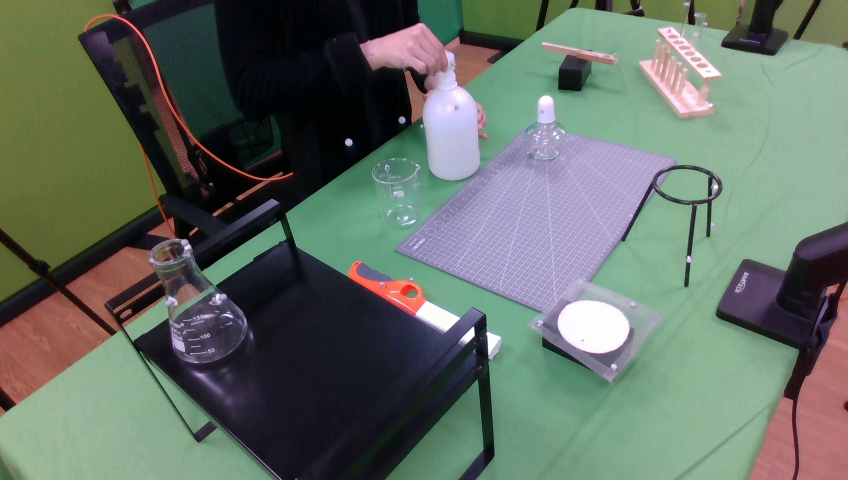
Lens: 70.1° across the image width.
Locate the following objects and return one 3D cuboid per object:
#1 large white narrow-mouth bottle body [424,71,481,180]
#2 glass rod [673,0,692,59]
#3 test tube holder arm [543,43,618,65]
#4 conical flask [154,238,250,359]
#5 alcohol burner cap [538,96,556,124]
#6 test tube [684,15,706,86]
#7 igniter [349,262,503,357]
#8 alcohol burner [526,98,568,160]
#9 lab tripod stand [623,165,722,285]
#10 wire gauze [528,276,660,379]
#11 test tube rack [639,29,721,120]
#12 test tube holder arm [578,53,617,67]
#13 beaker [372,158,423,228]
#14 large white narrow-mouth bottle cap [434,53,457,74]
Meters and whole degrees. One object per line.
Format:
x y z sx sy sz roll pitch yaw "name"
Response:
0.051 -0.212 1.090 0.102 0.195 0.101 -4 41 4 "large white narrow-mouth bottle body"
0.537 -0.437 1.257 0.008 0.200 0.008 0 39 1 "glass rod"
0.345 -0.413 1.341 0.177 0.015 0.013 25 50 31 "test tube holder arm"
-0.225 0.055 0.597 0.075 0.122 0.075 -5 41 4 "conical flask"
0.222 -0.237 1.095 0.034 0.048 0.033 -7 34 5 "alcohol burner cap"
0.541 -0.378 1.215 0.017 0.151 0.017 -2 44 3 "test tube"
-0.008 0.093 0.870 0.274 0.025 0.057 24 60 33 "igniter"
0.228 -0.210 1.118 0.078 0.119 0.077 -5 43 5 "alcohol burner"
0.365 -0.030 0.874 0.148 0.132 0.147 -6 41 6 "lab tripod stand"
0.213 0.103 0.763 0.124 0.011 0.122 30 52 35 "wire gauze"
0.527 -0.351 1.262 0.067 0.085 0.241 -8 40 1 "test tube rack"
0.376 -0.393 1.314 0.087 0.015 0.010 26 51 32 "test tube holder arm"
-0.039 -0.079 1.022 0.084 0.101 0.073 -17 41 -11 "beaker"
0.036 -0.295 1.008 0.038 0.024 0.037 -4 41 4 "large white narrow-mouth bottle cap"
